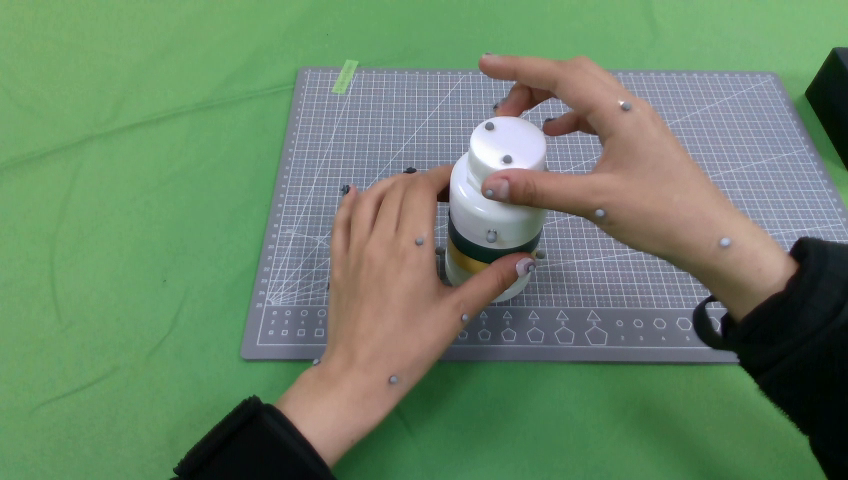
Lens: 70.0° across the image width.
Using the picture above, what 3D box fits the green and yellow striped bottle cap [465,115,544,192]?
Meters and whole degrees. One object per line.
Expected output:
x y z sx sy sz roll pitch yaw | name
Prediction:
0.046 -0.050 0.344 0.045 0.020 0.045 0 55 0 | green and yellow striped bottle cap

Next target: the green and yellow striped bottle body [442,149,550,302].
0.044 -0.016 0.390 0.063 0.121 0.062 0 54 0 | green and yellow striped bottle body
